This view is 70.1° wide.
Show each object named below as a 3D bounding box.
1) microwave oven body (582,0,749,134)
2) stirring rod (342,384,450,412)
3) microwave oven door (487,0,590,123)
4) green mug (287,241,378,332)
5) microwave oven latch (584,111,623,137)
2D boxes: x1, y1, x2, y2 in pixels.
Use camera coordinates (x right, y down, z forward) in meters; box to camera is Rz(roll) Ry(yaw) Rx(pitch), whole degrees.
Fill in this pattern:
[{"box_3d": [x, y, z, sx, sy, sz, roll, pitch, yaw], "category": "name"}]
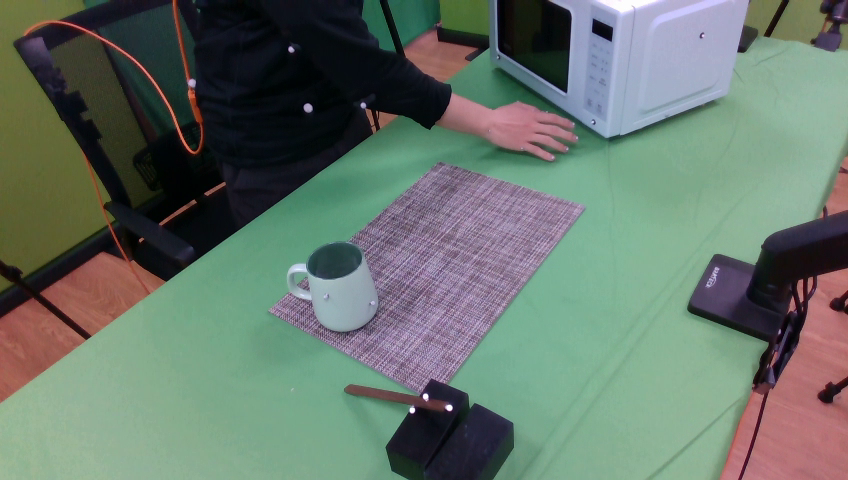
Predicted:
[{"box_3d": [0.382, -0.444, 1.246, 0.327, 0.261, 0.437, -22, 42, -16], "category": "microwave oven body"}, {"box_3d": [-0.038, 0.186, 0.714, 0.175, 0.006, 0.014, -3, 22, 43], "category": "stirring rod"}, {"box_3d": [0.232, -0.420, 1.231, 0.039, 0.245, 0.352, -22, 43, -16], "category": "microwave oven door"}, {"box_3d": [-0.131, 0.065, 0.843, 0.125, 0.105, 0.092, 3, 42, 12], "category": "green mug"}, {"box_3d": [0.337, -0.222, 1.142, 0.030, 0.029, 0.078, -21, 42, -14], "category": "microwave oven latch"}]
